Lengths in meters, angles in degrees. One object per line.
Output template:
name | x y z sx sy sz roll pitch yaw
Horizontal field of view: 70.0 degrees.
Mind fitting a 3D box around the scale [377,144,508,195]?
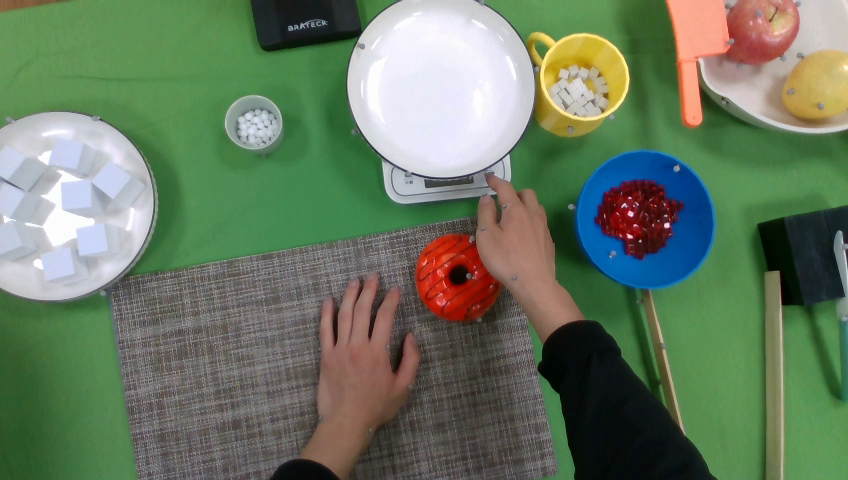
scale | 0.015 -0.157 0.699 0.149 0.031 0.200 -6 86 -5

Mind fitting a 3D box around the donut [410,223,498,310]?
donut | 0.033 0.029 0.674 0.099 0.048 0.099 0 87 -2

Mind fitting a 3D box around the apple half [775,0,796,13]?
apple half | 0.397 -0.280 0.711 0.081 0.081 0.033 30 86 0

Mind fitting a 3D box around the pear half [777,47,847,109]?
pear half | 0.453 -0.184 0.690 0.076 0.110 0.056 25 84 2

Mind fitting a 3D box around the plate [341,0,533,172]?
plate | 0.015 -0.175 0.668 0.209 0.038 0.208 1 85 -5

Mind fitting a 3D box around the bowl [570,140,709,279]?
bowl | 0.229 -0.029 0.680 0.151 0.077 0.151 0 86 -4

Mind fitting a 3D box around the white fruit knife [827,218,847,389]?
white fruit knife | 0.471 0.076 0.688 0.016 0.027 0.208 -13 100 -4

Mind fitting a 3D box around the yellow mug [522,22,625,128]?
yellow mug | 0.160 -0.198 0.696 0.100 0.064 0.131 -43 88 -6

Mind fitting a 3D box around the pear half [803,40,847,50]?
pear half | 0.471 -0.213 0.703 0.070 0.088 0.031 20 83 4

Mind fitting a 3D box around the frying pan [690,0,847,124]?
frying pan | 0.491 -0.192 0.700 0.307 0.103 0.486 -37 80 -5

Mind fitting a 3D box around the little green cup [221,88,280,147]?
little green cup | -0.191 -0.135 0.679 0.061 0.038 0.061 0 84 -4

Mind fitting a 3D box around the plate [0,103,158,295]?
plate | -0.392 -0.043 0.656 0.208 0.039 0.207 0 85 -4

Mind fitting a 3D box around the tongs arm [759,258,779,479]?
tongs arm | 0.389 0.214 0.695 0.028 0.028 0.386 5 85 -11

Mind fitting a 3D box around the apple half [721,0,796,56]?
apple half | 0.379 -0.246 0.708 0.081 0.074 0.053 31 87 -3

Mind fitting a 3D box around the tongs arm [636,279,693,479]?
tongs arm | 0.304 0.221 0.685 0.051 0.026 0.384 -10 87 -9

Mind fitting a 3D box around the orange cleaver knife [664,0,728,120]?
orange cleaver knife | 0.298 -0.240 0.673 0.077 0.012 0.211 -6 86 -2
